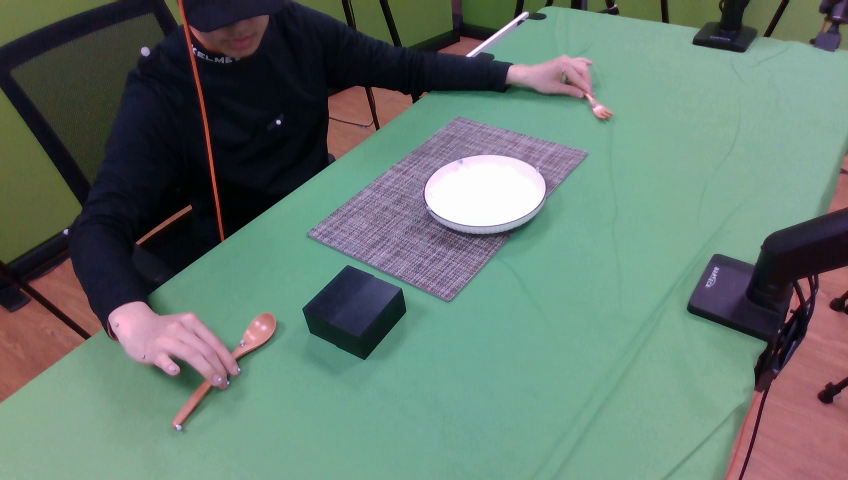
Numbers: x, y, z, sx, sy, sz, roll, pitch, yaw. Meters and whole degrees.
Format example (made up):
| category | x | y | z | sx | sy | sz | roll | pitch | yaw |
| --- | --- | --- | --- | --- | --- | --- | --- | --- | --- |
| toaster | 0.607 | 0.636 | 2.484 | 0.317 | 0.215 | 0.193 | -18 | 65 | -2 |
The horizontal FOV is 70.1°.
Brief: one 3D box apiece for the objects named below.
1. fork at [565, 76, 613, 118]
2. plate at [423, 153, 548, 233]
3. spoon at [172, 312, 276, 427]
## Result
| category | x | y | z | sx | sy | sz | roll | pitch | yaw |
| --- | --- | --- | --- | --- | --- | --- | --- | --- | --- |
| fork | 0.342 | -0.303 | 1.274 | 0.028 | 0.019 | 0.206 | -26 | 43 | 4 |
| plate | 0.104 | -0.076 | 1.024 | 0.209 | 0.038 | 0.208 | -4 | 40 | 4 |
| spoon | -0.266 | 0.168 | 0.809 | 0.041 | 0.022 | 0.194 | 19 | 46 | 23 |
